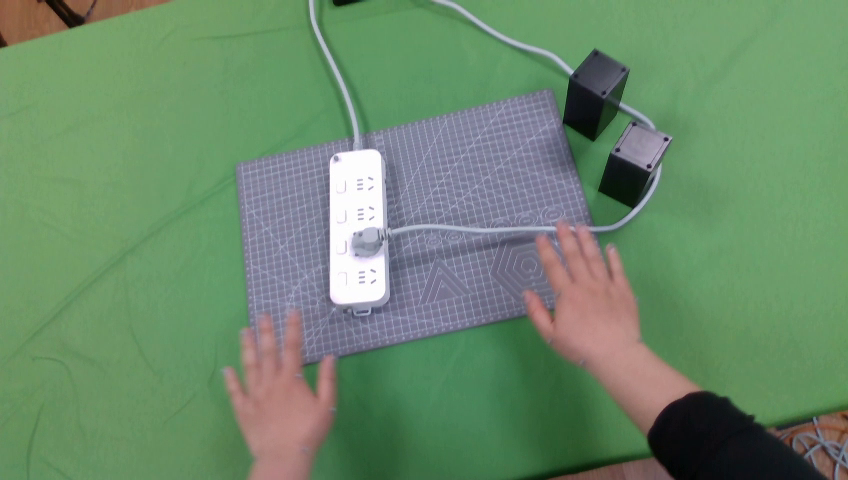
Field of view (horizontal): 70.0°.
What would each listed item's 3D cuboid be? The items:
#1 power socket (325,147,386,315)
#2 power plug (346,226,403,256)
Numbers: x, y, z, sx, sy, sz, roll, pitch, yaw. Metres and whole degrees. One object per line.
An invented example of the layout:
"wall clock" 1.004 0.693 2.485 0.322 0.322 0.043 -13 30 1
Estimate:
"power socket" -0.089 -0.018 0.776 0.072 0.033 0.225 -5 70 5
"power plug" -0.060 0.004 0.745 0.072 0.053 0.035 5 71 7
